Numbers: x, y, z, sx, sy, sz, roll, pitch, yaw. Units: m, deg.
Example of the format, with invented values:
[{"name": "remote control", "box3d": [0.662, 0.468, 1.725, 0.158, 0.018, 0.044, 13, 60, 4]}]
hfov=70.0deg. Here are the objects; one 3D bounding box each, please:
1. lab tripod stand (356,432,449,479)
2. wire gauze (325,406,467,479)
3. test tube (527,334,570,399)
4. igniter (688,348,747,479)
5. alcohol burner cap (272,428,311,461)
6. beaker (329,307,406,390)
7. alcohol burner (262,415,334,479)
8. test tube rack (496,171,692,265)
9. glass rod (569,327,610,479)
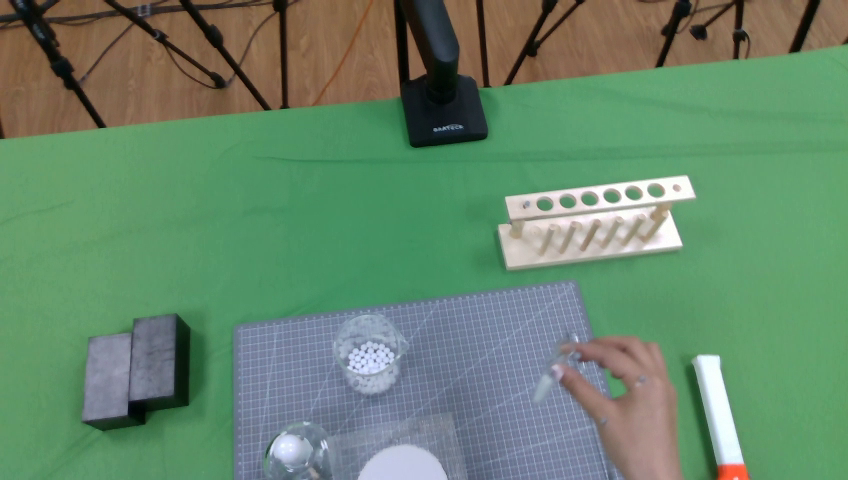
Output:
[{"name": "lab tripod stand", "box3d": [-0.023, 0.259, 0.621, 0.148, 0.132, 0.147, 0, 62, 1]}, {"name": "wire gauze", "box3d": [-0.023, 0.224, 0.563, 0.125, 0.011, 0.120, -10, 62, -7]}, {"name": "test tube", "box3d": [0.116, 0.123, 0.573, 0.017, 0.151, 0.017, 0, 60, 0]}, {"name": "igniter", "box3d": [0.348, 0.259, 0.694, 0.057, 0.025, 0.274, 4, 63, -11]}, {"name": "alcohol burner cap", "box3d": [-0.136, 0.207, 0.615, 0.034, 0.048, 0.033, -1, 68, 4]}, {"name": "beaker", "box3d": [-0.063, 0.130, 0.705, 0.084, 0.101, 0.073, 1, 63, -1]}, {"name": "alcohol burner", "box3d": [-0.137, 0.223, 0.648, 0.078, 0.120, 0.077, 0, 61, 0]}, {"name": "test tube rack", "box3d": [0.224, -0.028, 0.804, 0.242, 0.086, 0.066, -7, 63, -5]}, {"name": "glass rod", "box3d": [0.199, 0.200, 0.727, 0.008, 0.008, 0.198, -6, 66, -5]}]
